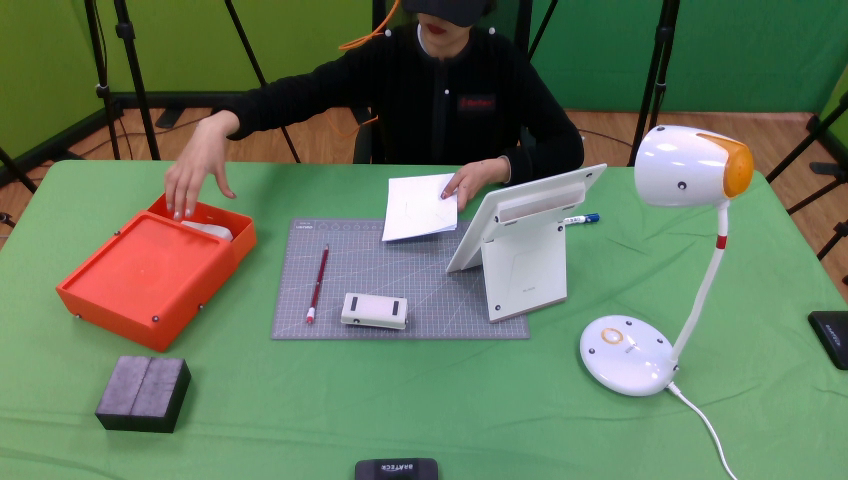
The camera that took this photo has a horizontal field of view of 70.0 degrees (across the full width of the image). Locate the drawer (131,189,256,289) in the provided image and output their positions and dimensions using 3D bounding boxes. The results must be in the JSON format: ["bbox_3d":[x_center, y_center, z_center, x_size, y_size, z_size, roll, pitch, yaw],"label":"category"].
[{"bbox_3d":[-0.449,0.019,1.106,0.194,0.073,0.211,19,48,12],"label":"drawer"}]

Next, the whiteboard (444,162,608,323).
[{"bbox_3d":[0.186,0.026,1.028,0.217,0.306,0.143,-14,68,-17],"label":"whiteboard"}]

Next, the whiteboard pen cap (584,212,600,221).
[{"bbox_3d":[0.351,-0.048,1.271,0.033,0.018,0.018,-6,47,-11],"label":"whiteboard pen cap"}]

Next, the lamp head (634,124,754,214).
[{"bbox_3d":[0.351,-0.089,0.776,0.112,0.113,0.122,-30,30,-28],"label":"lamp head"}]

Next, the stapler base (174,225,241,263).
[{"bbox_3d":[-0.412,0.002,1.155,0.130,0.024,0.041,22,43,11],"label":"stapler base"}]

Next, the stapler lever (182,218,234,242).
[{"bbox_3d":[-0.410,-0.018,1.136,0.118,0.040,0.027,20,43,12],"label":"stapler lever"}]

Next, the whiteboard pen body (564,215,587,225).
[{"bbox_3d":[0.291,-0.040,1.261,0.141,0.017,0.017,-6,47,-11],"label":"whiteboard pen body"}]

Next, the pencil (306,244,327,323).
[{"bbox_3d":[-0.196,0.076,1.115,0.012,0.012,0.193,4,44,0],"label":"pencil"}]

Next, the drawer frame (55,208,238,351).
[{"bbox_3d":[-0.474,0.062,1.059,0.201,0.083,0.213,19,48,13],"label":"drawer frame"}]

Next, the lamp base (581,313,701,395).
[{"bbox_3d":[0.361,0.144,0.973,0.178,0.181,0.160,34,53,23],"label":"lamp base"}]

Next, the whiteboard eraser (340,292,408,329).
[{"bbox_3d":[-0.087,0.125,1.052,0.113,0.042,0.055,5,45,1],"label":"whiteboard eraser"}]
